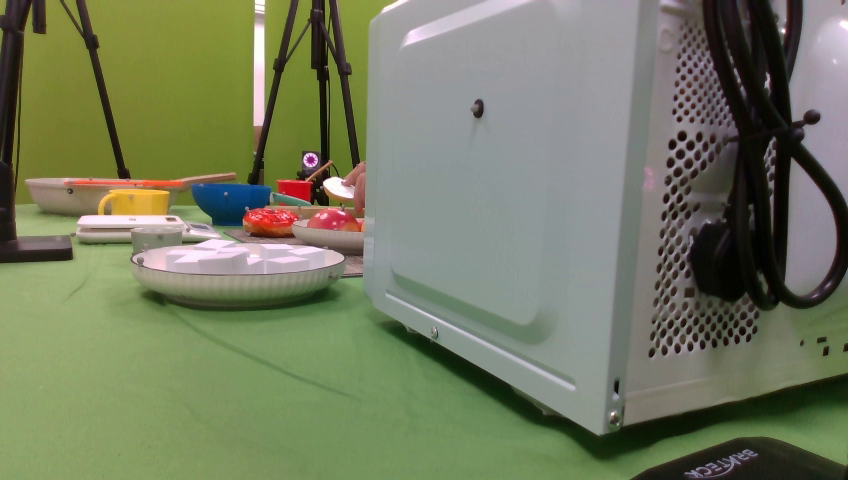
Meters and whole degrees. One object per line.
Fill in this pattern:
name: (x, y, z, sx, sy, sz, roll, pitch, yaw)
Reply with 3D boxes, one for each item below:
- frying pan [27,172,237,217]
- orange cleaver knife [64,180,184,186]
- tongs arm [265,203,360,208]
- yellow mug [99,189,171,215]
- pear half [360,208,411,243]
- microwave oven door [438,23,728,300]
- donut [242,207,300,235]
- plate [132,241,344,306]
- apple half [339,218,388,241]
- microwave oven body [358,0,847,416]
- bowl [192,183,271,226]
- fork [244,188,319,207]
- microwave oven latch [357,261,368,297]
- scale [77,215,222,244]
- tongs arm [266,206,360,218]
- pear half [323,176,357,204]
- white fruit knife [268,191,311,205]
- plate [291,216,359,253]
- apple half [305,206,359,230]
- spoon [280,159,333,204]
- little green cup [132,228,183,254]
frying pan: (-0.624, -0.118, 1.387, 0.305, 0.102, 0.490, 8, 17, 32)
orange cleaver knife: (-0.595, -0.114, 1.212, 0.212, 0.012, 0.077, -4, 6, -41)
tongs arm: (-0.211, -0.069, 1.440, 0.389, 0.027, 0.028, 1, 0, -17)
yellow mug: (-0.519, -0.055, 1.080, 0.099, 0.064, 0.131, 6, 9, 26)
pear half: (-0.057, -0.020, 0.927, 0.076, 0.056, 0.110, 4, -1, 2)
microwave oven door: (0.181, -0.073, 0.621, 0.358, 0.243, 0.039, -2, 8, -29)
donut: (-0.263, -0.032, 1.039, 0.099, 0.048, 0.099, 4, 9, 0)
plate: (-0.187, 0.033, 0.625, 0.208, 0.039, 0.207, 2, 8, 0)
apple half: (-0.096, -0.019, 0.985, 0.081, 0.033, 0.081, 2, 9, 0)
microwave oven body: (0.211, -0.047, 0.475, 0.444, 0.260, 0.324, -1, 8, -28)
bowl: (-0.382, -0.071, 1.202, 0.151, 0.077, 0.151, 3, 7, 0)
fork: (-0.356, -0.105, 1.526, 0.208, 0.018, 0.028, 16, -5, -41)
microwave oven latch: (-0.019, 0.033, 0.531, 0.079, 0.029, 0.030, -1, 7, -27)
scale: (-0.434, -0.019, 0.963, 0.202, 0.031, 0.148, -1, 9, -27)
tongs arm: (-0.174, -0.061, 1.363, 0.387, 0.026, 0.050, -1, 4, -31)
pear half: (-0.168, -0.092, 1.170, 0.071, 0.031, 0.087, 24, 22, -28)
white fruit knife: (-0.364, -0.105, 1.464, 0.208, 0.027, 0.016, 15, -1, -34)
plate: (-0.103, -0.009, 0.945, 0.209, 0.038, 0.209, 2, 8, 0)
apple half: (-0.137, -0.024, 0.915, 0.081, 0.053, 0.074, 0, 10, -40)
spoon: (-0.317, -0.159, 1.640, 0.194, 0.022, 0.041, -49, 32, -20)
little green cup: (-0.342, 0.006, 0.779, 0.061, 0.038, 0.061, 2, 8, 0)
